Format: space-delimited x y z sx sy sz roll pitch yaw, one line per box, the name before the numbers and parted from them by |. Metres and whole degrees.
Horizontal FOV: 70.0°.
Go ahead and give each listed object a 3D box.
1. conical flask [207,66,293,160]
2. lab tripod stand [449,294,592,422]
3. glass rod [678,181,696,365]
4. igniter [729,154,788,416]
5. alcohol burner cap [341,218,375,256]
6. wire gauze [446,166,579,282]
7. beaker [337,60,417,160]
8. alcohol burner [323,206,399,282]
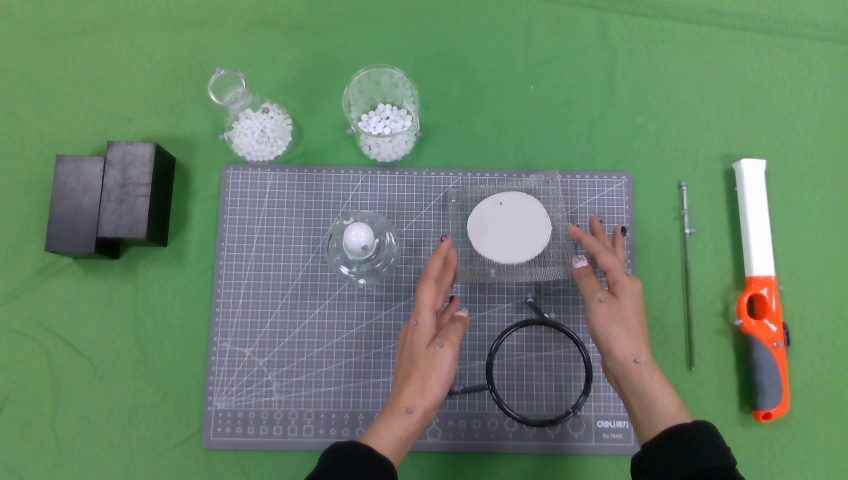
conical flask | -0.181 -0.132 0.614 0.075 0.122 0.075 0 81 -1
lab tripod stand | 0.094 0.120 0.570 0.148 0.132 0.148 0 83 0
glass rod | 0.282 0.033 0.651 0.008 0.008 0.199 0 81 -1
igniter | 0.352 0.044 0.641 0.057 0.025 0.275 1 81 -11
alcohol burner cap | -0.062 -0.005 0.561 0.034 0.048 0.033 1 81 -6
wire gauze | 0.087 -0.017 0.622 0.125 0.011 0.120 -7 63 6
beaker | -0.042 -0.128 0.627 0.084 0.100 0.074 37 83 4
alcohol burner | -0.063 0.001 0.597 0.078 0.119 0.077 0 82 -1
